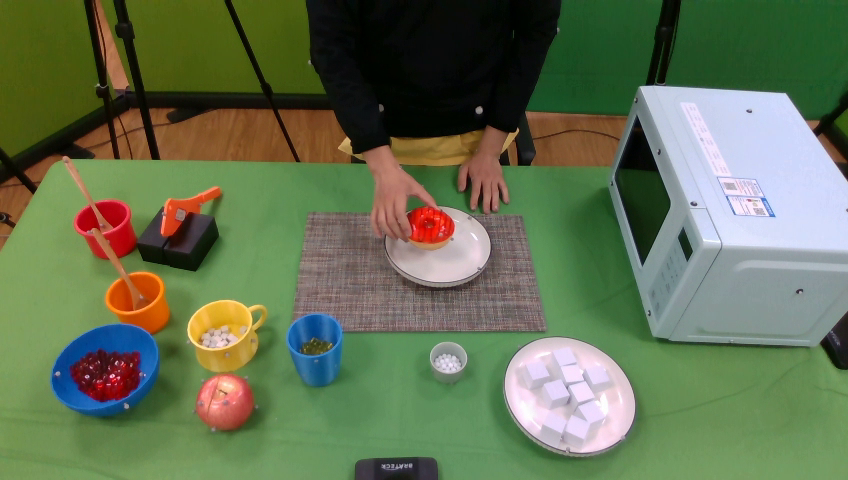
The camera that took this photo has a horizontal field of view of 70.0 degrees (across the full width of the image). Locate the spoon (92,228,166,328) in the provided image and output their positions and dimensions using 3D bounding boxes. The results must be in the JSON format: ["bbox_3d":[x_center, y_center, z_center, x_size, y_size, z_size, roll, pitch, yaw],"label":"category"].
[{"bbox_3d":[-0.495,0.063,1.014,0.041,0.194,0.021,-34,12,-31],"label":"spoon"}]

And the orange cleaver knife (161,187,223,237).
[{"bbox_3d":[-0.448,-0.058,1.180,0.012,0.077,0.211,13,17,6],"label":"orange cleaver knife"}]

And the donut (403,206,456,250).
[{"bbox_3d":[0.010,-0.023,1.120,0.099,0.048,0.098,1,46,-1],"label":"donut"}]

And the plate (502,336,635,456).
[{"bbox_3d":[0.225,0.248,0.963,0.208,0.039,0.206,2,46,-2],"label":"plate"}]

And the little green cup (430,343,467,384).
[{"bbox_3d":[0.039,0.203,0.994,0.061,0.039,0.061,2,46,-2],"label":"little green cup"}]

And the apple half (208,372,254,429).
[{"bbox_3d":[-0.282,0.244,0.908,0.053,0.075,0.080,7,42,-1],"label":"apple half"}]

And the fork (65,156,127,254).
[{"bbox_3d":[-0.614,-0.064,1.130,0.028,0.018,0.207,-29,97,-16],"label":"fork"}]

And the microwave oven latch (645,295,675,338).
[{"bbox_3d":[0.412,0.134,1.061,0.030,0.029,0.078,3,45,0],"label":"microwave oven latch"}]

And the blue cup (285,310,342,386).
[{"bbox_3d":[-0.170,0.179,0.958,0.093,0.101,0.092,1,44,-1],"label":"blue cup"}]

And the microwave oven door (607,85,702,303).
[{"bbox_3d":[0.423,-0.094,1.140,0.039,0.245,0.353,2,46,-1],"label":"microwave oven door"}]

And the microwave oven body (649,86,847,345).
[{"bbox_3d":[0.568,-0.053,1.118,0.326,0.261,0.439,2,45,-1],"label":"microwave oven body"}]

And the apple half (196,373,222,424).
[{"bbox_3d":[-0.322,0.239,0.907,0.033,0.081,0.081,7,46,-1],"label":"apple half"}]

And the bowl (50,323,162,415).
[{"bbox_3d":[-0.472,0.209,0.924,0.151,0.077,0.150,3,45,-2],"label":"bowl"}]

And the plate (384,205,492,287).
[{"bbox_3d":[0.027,0.015,1.169,0.209,0.038,0.208,2,46,-2],"label":"plate"}]

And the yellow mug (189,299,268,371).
[{"bbox_3d":[-0.316,0.148,1.002,0.131,0.064,0.099,-32,56,-32],"label":"yellow mug"}]
